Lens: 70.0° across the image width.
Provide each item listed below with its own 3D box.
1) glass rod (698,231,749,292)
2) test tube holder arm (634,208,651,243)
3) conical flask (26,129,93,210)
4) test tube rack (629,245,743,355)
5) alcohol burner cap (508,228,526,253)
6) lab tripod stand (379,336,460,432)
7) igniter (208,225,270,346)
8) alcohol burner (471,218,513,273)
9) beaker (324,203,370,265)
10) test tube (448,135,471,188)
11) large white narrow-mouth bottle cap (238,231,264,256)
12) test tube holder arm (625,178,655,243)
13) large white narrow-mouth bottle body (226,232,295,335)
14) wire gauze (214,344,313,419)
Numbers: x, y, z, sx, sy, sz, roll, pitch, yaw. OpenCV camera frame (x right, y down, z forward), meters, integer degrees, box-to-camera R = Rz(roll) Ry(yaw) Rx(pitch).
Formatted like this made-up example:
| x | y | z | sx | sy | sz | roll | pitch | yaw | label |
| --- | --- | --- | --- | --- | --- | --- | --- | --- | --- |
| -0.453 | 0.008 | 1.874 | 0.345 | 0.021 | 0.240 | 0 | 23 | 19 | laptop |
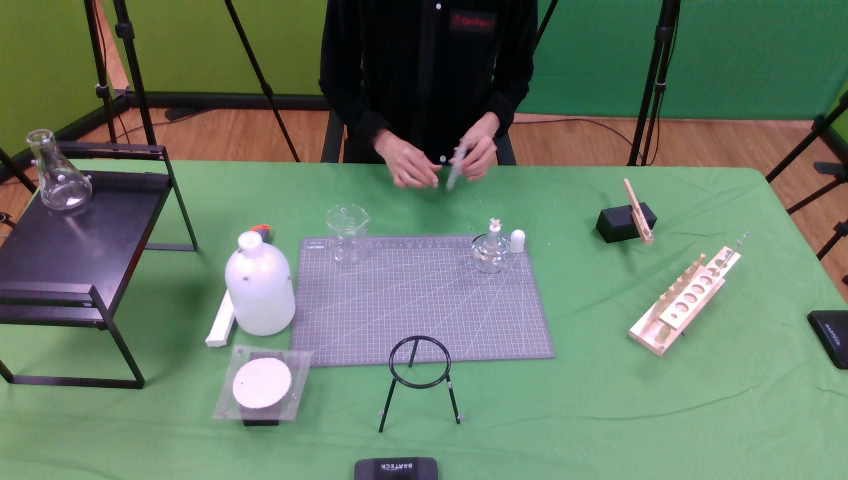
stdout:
| x | y | z | sx | sy | sz | roll | pitch | yaw | label |
| --- | --- | --- | --- | --- | --- | --- | --- | --- | --- |
| 0.515 | 0.044 | 1.051 | 0.008 | 0.200 | 0.008 | 1 | 55 | -1 | glass rod |
| 0.428 | -0.030 | 1.189 | 0.010 | 0.015 | 0.087 | 1 | 47 | -2 | test tube holder arm |
| -0.575 | -0.113 | 0.946 | 0.075 | 0.122 | 0.075 | 2 | 46 | -2 | conical flask |
| 0.474 | 0.095 | 1.091 | 0.242 | 0.085 | 0.066 | -34 | 56 | -31 | test tube rack |
| 0.185 | -0.002 | 1.192 | 0.034 | 0.048 | 0.033 | 3 | 44 | -2 | alcohol burner cap |
| -0.011 | 0.214 | 0.911 | 0.148 | 0.132 | 0.147 | 1 | 45 | 0 | lab tripod stand |
| -0.331 | 0.072 | 1.099 | 0.057 | 0.025 | 0.275 | -4 | 45 | 10 | igniter |
| 0.128 | 0.005 | 1.132 | 0.078 | 0.120 | 0.077 | 0 | 47 | 0 | alcohol burner |
| -0.142 | -0.009 | 1.137 | 0.084 | 0.101 | 0.073 | -3 | 47 | -7 | beaker |
| 0.067 | -0.149 | 1.175 | 0.017 | 0.151 | 0.017 | 5 | 57 | -8 | test tube |
| -0.266 | 0.006 | 0.932 | 0.038 | 0.024 | 0.037 | 2 | 46 | -2 | large white narrow-mouth bottle cap |
| 0.433 | -0.062 | 1.220 | 0.013 | 0.015 | 0.177 | 1 | 47 | -3 | test tube holder arm |
| -0.270 | 0.065 | 0.995 | 0.102 | 0.195 | 0.101 | 2 | 46 | -2 | large white narrow-mouth bottle body |
| -0.241 | 0.213 | 0.915 | 0.121 | 0.011 | 0.124 | 5 | 46 | 1 | wire gauze |
